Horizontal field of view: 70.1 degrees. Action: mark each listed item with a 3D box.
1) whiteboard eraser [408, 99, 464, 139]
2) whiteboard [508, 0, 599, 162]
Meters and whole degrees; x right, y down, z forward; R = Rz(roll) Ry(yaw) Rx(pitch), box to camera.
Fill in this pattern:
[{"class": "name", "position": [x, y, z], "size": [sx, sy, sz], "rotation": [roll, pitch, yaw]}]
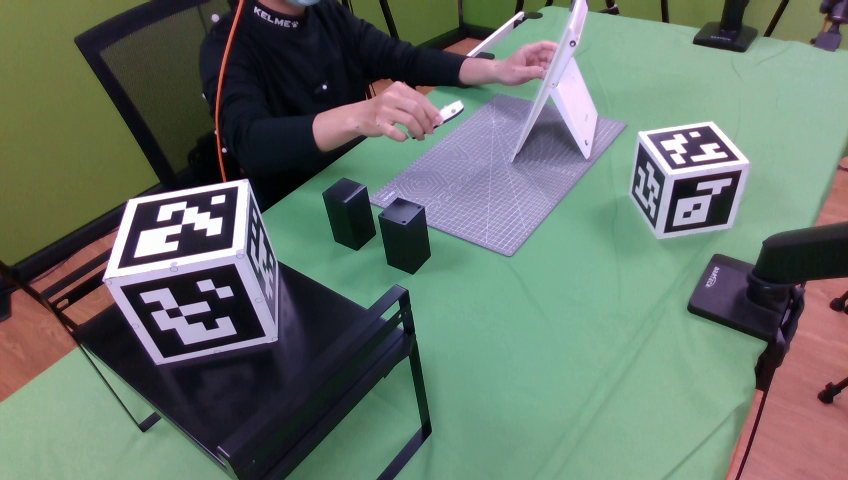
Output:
[{"class": "whiteboard eraser", "position": [0.019, -0.193, 0.955], "size": [0.101, 0.019, 0.041], "rotation": [-25, 20, 27]}, {"class": "whiteboard", "position": [0.285, -0.289, 1.090], "size": [0.144, 0.305, 0.217], "rotation": [22, 45, 3]}]
